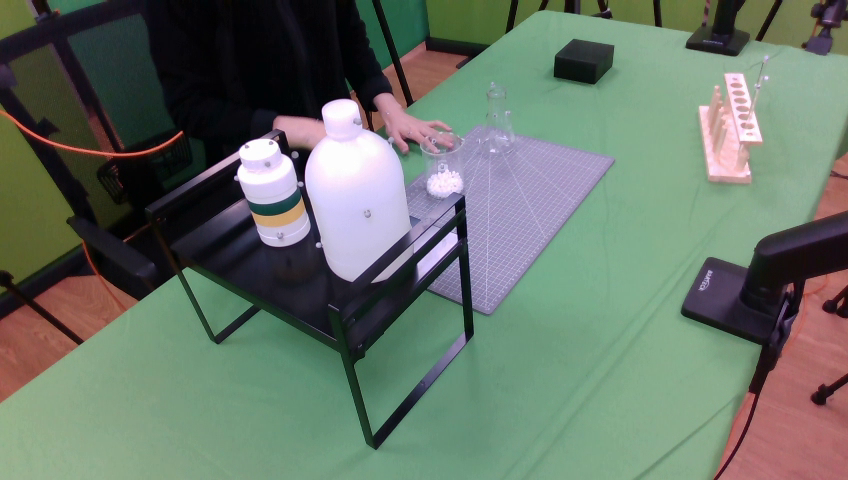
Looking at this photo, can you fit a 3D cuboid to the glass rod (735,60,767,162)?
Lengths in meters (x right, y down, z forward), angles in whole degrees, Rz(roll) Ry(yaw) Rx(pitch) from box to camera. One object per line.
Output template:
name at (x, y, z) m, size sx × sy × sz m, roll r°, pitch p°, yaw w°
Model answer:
glass rod at (0.534, -0.204, 0.989) m, size 0.008 × 0.201 × 0.008 m, roll -6°, pitch 46°, yaw 6°

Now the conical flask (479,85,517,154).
conical flask at (0.139, -0.230, 1.145) m, size 0.075 × 0.122 × 0.075 m, roll -4°, pitch 41°, yaw 4°

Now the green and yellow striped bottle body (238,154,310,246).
green and yellow striped bottle body at (-0.178, -0.056, 0.714) m, size 0.063 × 0.120 × 0.063 m, roll -4°, pitch 40°, yaw 4°

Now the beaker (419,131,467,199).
beaker at (0.037, -0.130, 1.060) m, size 0.084 × 0.100 × 0.073 m, roll -14°, pitch 41°, yaw -9°

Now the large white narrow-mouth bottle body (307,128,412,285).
large white narrow-mouth bottle body at (-0.070, -0.051, 0.638) m, size 0.102 × 0.195 × 0.101 m, roll -3°, pitch 40°, yaw 3°

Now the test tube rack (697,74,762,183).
test tube rack at (0.547, -0.208, 1.094) m, size 0.066 × 0.085 × 0.242 m, roll 5°, pitch 42°, yaw 15°

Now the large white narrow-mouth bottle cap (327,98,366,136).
large white narrow-mouth bottle cap at (-0.075, -0.118, 0.581) m, size 0.038 × 0.024 × 0.037 m, roll -3°, pitch 40°, yaw 3°

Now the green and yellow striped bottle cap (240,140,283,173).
green and yellow striped bottle cap at (-0.183, -0.094, 0.679) m, size 0.045 × 0.020 × 0.045 m, roll -4°, pitch 38°, yaw 4°
